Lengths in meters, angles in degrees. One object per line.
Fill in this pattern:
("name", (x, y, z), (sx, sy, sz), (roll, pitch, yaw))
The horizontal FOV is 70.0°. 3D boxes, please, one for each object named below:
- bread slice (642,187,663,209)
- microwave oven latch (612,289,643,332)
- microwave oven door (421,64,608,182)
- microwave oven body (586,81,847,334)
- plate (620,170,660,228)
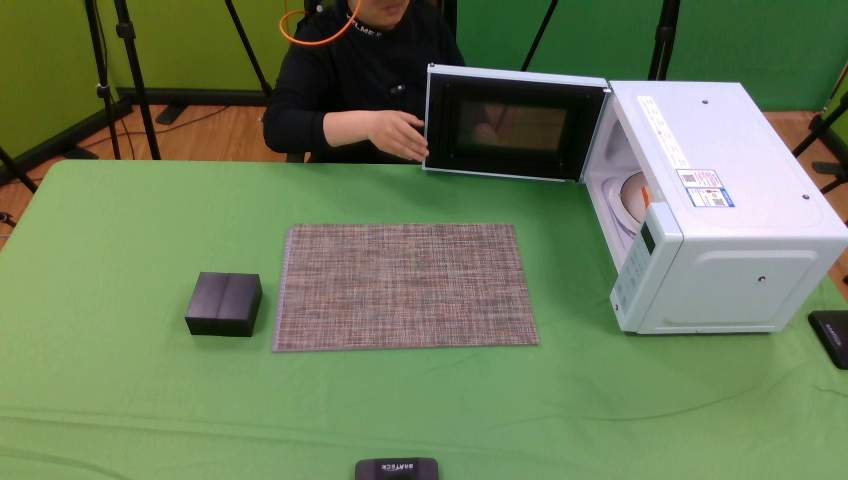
("bread slice", (0.493, -0.058, 1.195), (0.105, 0.019, 0.131), (6, 44, 4))
("microwave oven latch", (0.357, 0.124, 1.068), (0.030, 0.029, 0.078), (0, 45, -3))
("microwave oven door", (0.177, -0.239, 1.266), (0.356, 0.245, 0.039), (5, 46, 1))
("microwave oven body", (0.501, -0.070, 1.132), (0.326, 0.261, 0.438), (-1, 45, -3))
("plate", (0.489, -0.060, 1.194), (0.209, 0.038, 0.208), (3, 45, -2))
